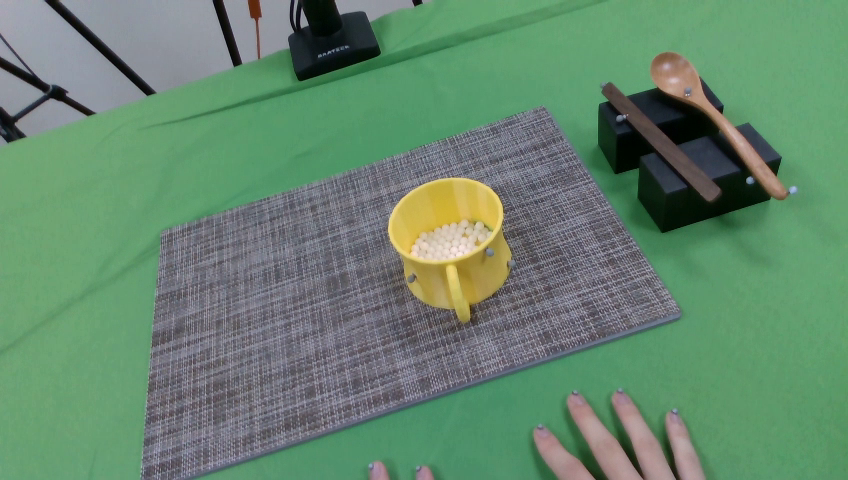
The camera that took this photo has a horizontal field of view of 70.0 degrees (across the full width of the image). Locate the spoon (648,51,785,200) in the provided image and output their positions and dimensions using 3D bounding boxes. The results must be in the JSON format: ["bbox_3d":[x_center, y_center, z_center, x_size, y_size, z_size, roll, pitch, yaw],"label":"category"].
[{"bbox_3d":[0.252,-0.105,0.529,0.041,0.022,0.191,-17,50,-1],"label":"spoon"}]

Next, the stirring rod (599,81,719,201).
[{"bbox_3d":[0.202,-0.093,0.536,0.014,0.006,0.174,-48,43,24],"label":"stirring rod"}]

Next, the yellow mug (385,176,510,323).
[{"bbox_3d":[0.024,0.012,0.522,0.100,0.064,0.129,-12,49,6],"label":"yellow mug"}]
